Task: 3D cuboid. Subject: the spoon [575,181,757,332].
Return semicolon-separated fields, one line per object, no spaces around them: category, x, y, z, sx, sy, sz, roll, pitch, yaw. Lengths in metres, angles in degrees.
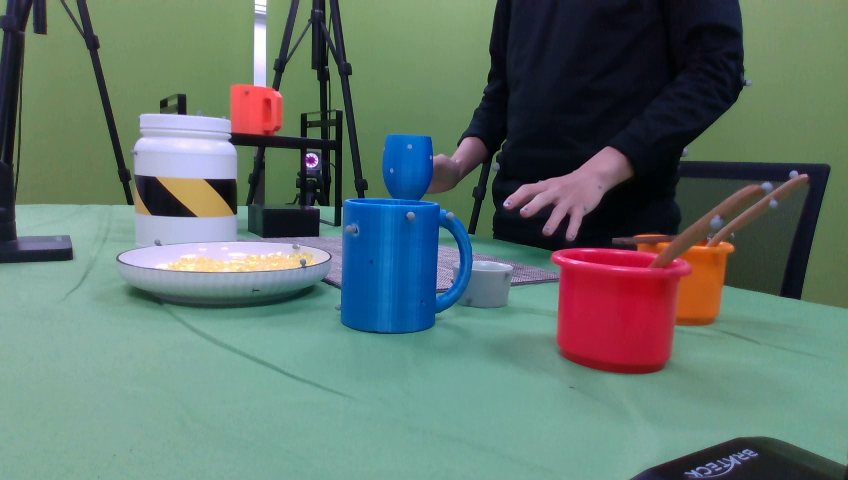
spoon;0.156;0.020;0.412;0.042;0.021;0.193;1;-36;-16

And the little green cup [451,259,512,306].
little green cup;0.057;0.043;0.612;0.061;0.038;0.061;3;7;0

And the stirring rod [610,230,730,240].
stirring rod;0.241;-0.005;0.582;0.177;0.006;0.014;-2;9;-34

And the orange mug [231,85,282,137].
orange mug;-0.335;-0.261;1.225;0.125;0.100;0.084;2;6;35

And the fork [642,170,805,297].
fork;0.261;0.004;0.545;0.028;0.018;0.207;5;-38;-15

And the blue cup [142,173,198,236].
blue cup;-0.425;-0.060;1.014;0.093;0.100;0.092;4;9;0

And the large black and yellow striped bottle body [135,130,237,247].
large black and yellow striped bottle body;-0.327;-0.074;0.838;0.131;0.184;0.130;2;7;0

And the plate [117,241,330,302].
plate;-0.203;0.031;0.630;0.209;0.038;0.209;3;7;0

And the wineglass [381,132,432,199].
wineglass;-0.026;-0.062;0.841;0.074;0.172;0.073;2;7;0

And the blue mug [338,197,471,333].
blue mug;-0.016;0.018;0.523;0.117;0.106;0.082;1;7;-13

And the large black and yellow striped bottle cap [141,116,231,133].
large black and yellow striped bottle cap;-0.324;-0.157;0.826;0.115;0.019;0.115;1;7;0
